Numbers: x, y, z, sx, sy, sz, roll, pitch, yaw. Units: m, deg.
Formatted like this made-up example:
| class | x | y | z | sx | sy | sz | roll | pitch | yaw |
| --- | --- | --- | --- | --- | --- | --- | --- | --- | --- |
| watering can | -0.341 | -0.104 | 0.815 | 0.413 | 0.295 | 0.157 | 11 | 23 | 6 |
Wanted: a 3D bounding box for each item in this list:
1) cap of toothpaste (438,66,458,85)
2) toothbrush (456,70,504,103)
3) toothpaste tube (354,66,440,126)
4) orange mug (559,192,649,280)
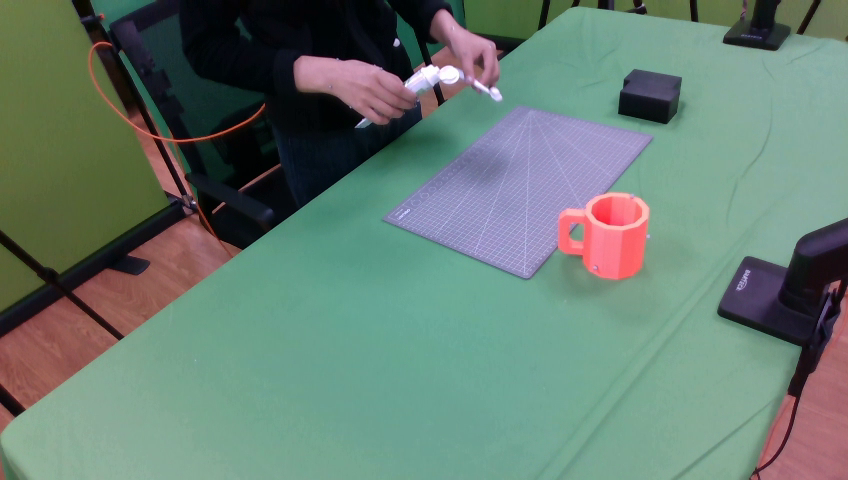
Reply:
| class | x | y | z | sx | sy | sz | roll | pitch | yaw |
| --- | --- | --- | --- | --- | --- | --- | --- | --- | --- |
| cap of toothpaste | 0.038 | -0.273 | 0.997 | 0.037 | 0.011 | 0.037 | -1 | 66 | 2 |
| toothbrush | 0.096 | -0.281 | 1.090 | 0.014 | 0.017 | 0.180 | -32 | 37 | -6 |
| toothpaste tube | -0.043 | -0.235 | 0.999 | 0.165 | 0.034 | 0.055 | -31 | -1 | 14 |
| orange mug | 0.261 | -0.008 | 0.884 | 0.126 | 0.101 | 0.083 | 9 | 43 | 14 |
